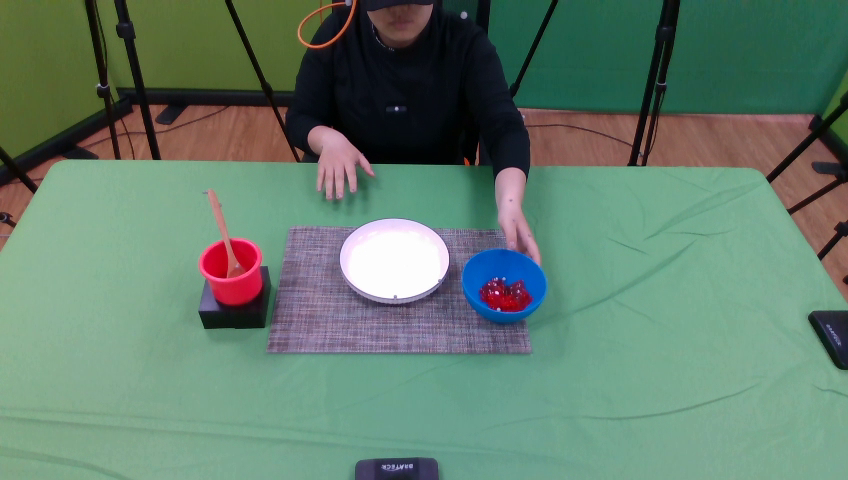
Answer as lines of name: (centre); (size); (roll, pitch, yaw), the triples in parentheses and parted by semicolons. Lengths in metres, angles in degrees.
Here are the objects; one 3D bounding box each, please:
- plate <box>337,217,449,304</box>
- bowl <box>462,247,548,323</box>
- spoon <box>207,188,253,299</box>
plate: (-0.058, 0.042, 1.136); (0.208, 0.039, 0.206); (2, 46, -2)
bowl: (0.138, 0.093, 1.072); (0.151, 0.077, 0.150); (2, 46, -2)
spoon: (-0.328, 0.005, 1.013); (0.042, 0.021, 0.193); (-16, 93, -19)
